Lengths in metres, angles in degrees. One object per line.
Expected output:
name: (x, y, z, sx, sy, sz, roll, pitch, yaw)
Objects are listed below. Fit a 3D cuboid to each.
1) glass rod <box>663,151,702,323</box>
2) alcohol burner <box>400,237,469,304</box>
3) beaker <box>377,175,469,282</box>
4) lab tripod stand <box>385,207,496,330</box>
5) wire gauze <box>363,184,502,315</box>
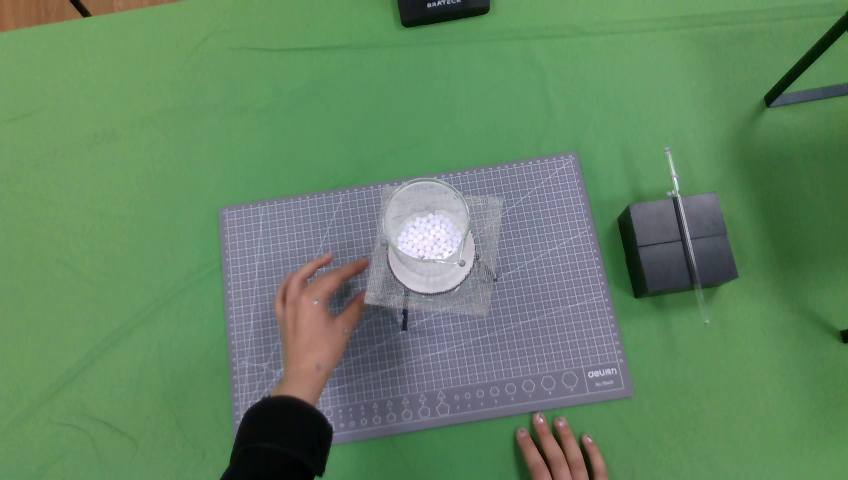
glass rod: (0.287, -0.006, 0.673, 0.008, 0.008, 0.198, -6, 76, 1)
alcohol burner: (0.011, 0.030, 0.664, 0.078, 0.119, 0.077, -1, 76, 4)
beaker: (0.004, -0.003, 0.545, 0.074, 0.101, 0.083, -36, 77, -7)
lab tripod stand: (0.006, 0.024, 0.656, 0.148, 0.132, 0.147, -1, 75, 4)
wire gauze: (0.009, 0.008, 0.592, 0.121, 0.011, 0.124, 8, 74, 3)
